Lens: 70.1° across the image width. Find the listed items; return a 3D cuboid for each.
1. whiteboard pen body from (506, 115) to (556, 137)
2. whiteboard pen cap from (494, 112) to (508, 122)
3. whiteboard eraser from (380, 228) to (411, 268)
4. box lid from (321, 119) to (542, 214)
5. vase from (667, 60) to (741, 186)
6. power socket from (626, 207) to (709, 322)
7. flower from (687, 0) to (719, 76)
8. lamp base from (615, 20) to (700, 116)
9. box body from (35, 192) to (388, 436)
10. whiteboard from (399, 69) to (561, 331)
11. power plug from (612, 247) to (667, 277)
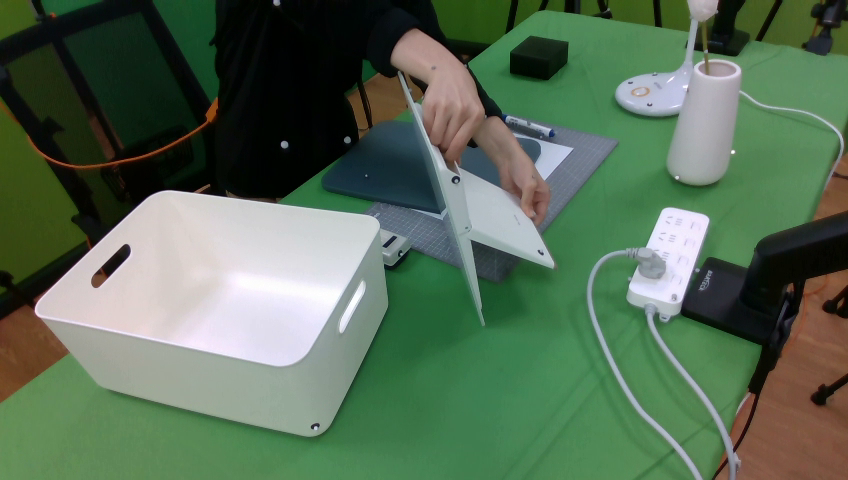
[{"bbox_3d":[0.203,-0.232,1.213,0.139,0.017,0.017,27,51,36],"label":"whiteboard pen body"},{"bbox_3d":[0.161,-0.253,1.248,0.033,0.018,0.018,29,52,36],"label":"whiteboard pen cap"},{"bbox_3d":[-0.081,0.008,0.964,0.112,0.042,0.056,19,49,27],"label":"whiteboard eraser"},{"bbox_3d":[0.017,-0.141,1.145,0.369,0.015,0.263,12,44,22],"label":"box lid"},{"bbox_3d":[0.463,-0.189,0.994,0.098,0.201,0.097,-4,40,4],"label":"vase"},{"bbox_3d":[0.360,0.026,0.886,0.072,0.033,0.227,17,46,27],"label":"power socket"},{"bbox_3d":[0.436,-0.242,0.934,0.038,0.364,0.043,-24,49,8],"label":"flower"},{"bbox_3d":[0.484,-0.364,1.211,0.180,0.181,0.159,-15,41,-14],"label":"lamp base"},{"bbox_3d":[-0.251,0.087,0.800,0.362,0.161,0.254,7,42,16],"label":"box body"},{"bbox_3d":[0.084,-0.068,0.814,0.144,0.307,0.215,-16,42,0],"label":"whiteboard"},{"bbox_3d":[0.306,0.031,0.852,0.072,0.053,0.035,21,48,37],"label":"power plug"}]
